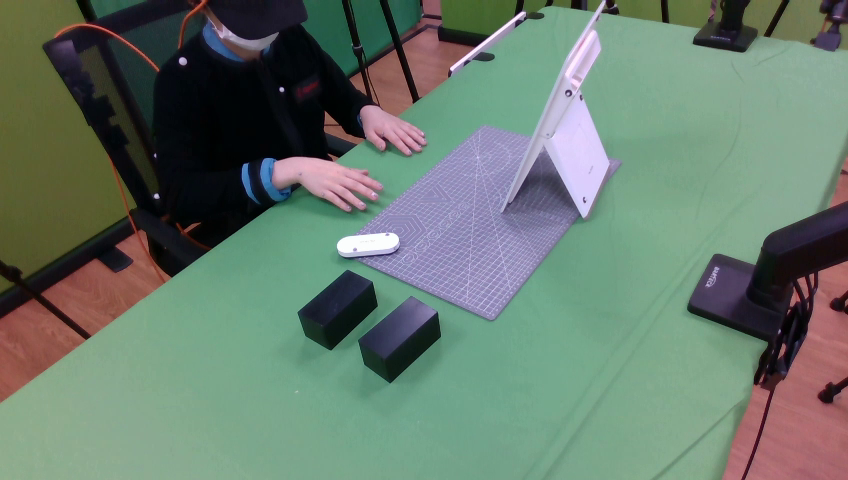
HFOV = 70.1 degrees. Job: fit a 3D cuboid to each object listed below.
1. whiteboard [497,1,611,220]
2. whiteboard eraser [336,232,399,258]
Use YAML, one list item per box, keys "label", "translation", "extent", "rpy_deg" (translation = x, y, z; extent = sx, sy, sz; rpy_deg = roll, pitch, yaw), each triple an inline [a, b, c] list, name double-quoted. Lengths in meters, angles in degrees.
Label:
- label: "whiteboard"
  translation: [0.259, -0.177, 0.963]
  extent: [0.143, 0.306, 0.217]
  rpy_deg: [28, 48, 9]
- label: "whiteboard eraser"
  translation: [-0.091, 0.008, 0.970]
  extent: [0.101, 0.019, 0.041]
  rpy_deg: [-4, 40, 2]
